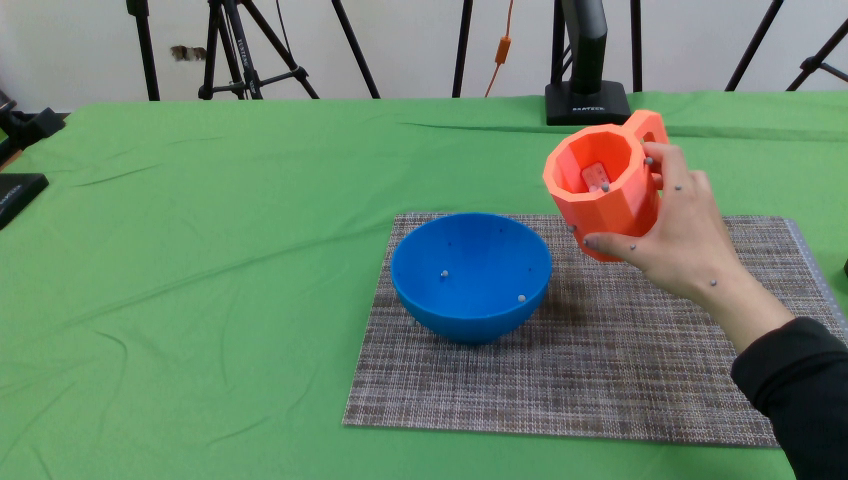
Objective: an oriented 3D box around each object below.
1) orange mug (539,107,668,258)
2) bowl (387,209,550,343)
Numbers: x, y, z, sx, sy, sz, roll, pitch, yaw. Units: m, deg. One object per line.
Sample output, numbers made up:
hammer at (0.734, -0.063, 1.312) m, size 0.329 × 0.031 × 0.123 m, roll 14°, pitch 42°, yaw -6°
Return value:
orange mug at (0.174, -0.058, 0.556) m, size 0.126 × 0.102 × 0.082 m, roll -52°, pitch 44°, yaw -4°
bowl at (0.043, 0.045, 0.584) m, size 0.151 × 0.077 × 0.150 m, roll -4°, pitch 39°, yaw 3°
